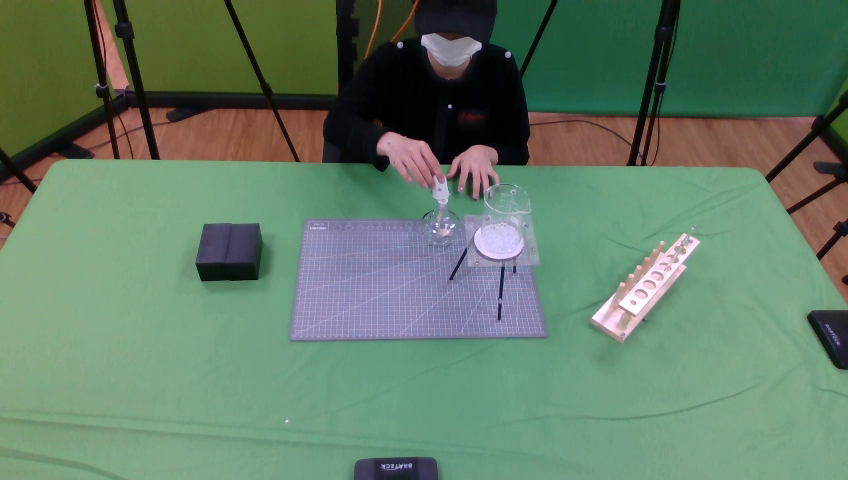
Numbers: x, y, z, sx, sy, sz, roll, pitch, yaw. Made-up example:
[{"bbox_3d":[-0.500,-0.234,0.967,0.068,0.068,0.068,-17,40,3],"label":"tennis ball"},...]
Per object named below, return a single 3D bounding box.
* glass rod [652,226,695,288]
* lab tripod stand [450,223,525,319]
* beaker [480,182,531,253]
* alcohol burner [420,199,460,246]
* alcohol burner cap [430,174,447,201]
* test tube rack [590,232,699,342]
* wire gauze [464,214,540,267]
[{"bbox_3d":[0.432,0.037,1.057,0.008,0.200,0.008,1,54,-1],"label":"glass rod"},{"bbox_3d":[0.120,0.046,1.080,0.148,0.132,0.147,1,47,-1],"label":"lab tripod stand"},{"bbox_3d":[0.133,-0.033,0.998,0.083,0.101,0.074,26,51,22],"label":"beaker"},{"bbox_3d":[0.032,-0.046,1.176,0.078,0.120,0.077,2,44,-1],"label":"alcohol burner"},{"bbox_3d":[0.027,-0.100,1.119,0.034,0.048,0.033,-1,41,1],"label":"alcohol burner cap"},{"bbox_3d":[0.407,0.074,1.112,0.066,0.085,0.242,35,53,26],"label":"test tube rack"},{"bbox_3d":[0.131,-0.001,1.035,0.121,0.011,0.124,1,44,-2],"label":"wire gauze"}]
